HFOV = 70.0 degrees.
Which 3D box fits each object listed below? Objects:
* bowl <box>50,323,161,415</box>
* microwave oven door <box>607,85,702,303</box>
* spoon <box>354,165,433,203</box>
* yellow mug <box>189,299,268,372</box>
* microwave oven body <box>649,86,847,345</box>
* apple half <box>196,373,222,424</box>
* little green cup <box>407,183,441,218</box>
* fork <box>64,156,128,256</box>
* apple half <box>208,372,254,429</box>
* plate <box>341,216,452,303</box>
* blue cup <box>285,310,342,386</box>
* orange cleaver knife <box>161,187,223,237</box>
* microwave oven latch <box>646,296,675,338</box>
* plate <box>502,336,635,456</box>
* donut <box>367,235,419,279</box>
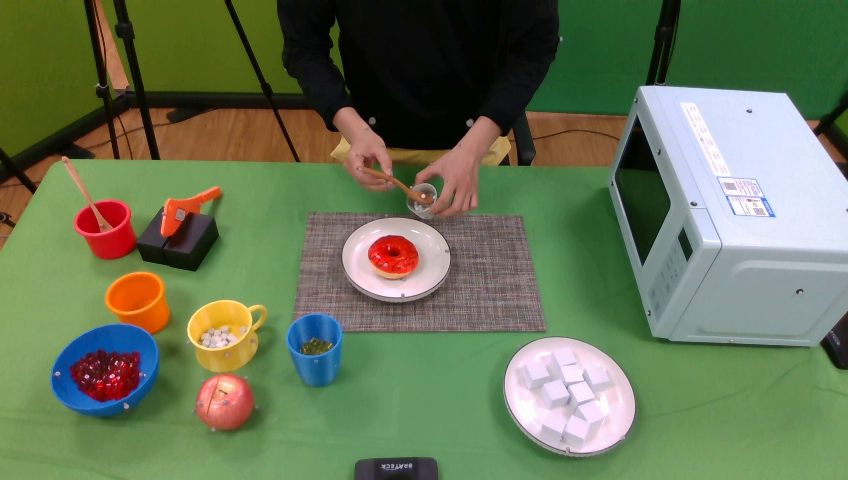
[{"bbox_3d":[-0.472,0.209,0.924,0.151,0.077,0.150,3,45,-2],"label":"bowl"},{"bbox_3d":[0.423,-0.094,1.141,0.039,0.245,0.353,2,46,-1],"label":"microwave oven door"},{"bbox_3d":[-0.051,-0.100,1.067,0.195,0.021,0.041,24,22,-48],"label":"spoon"},{"bbox_3d":[-0.316,0.148,1.002,0.131,0.064,0.099,-33,56,-31],"label":"yellow mug"},{"bbox_3d":[0.568,-0.053,1.118,0.326,0.261,0.439,2,45,-1],"label":"microwave oven body"},{"bbox_3d":[-0.322,0.240,0.907,0.033,0.081,0.081,6,46,0],"label":"apple half"},{"bbox_3d":[0.003,-0.072,1.133,0.061,0.039,0.061,-9,65,19],"label":"little green cup"},{"bbox_3d":[-0.614,-0.064,1.130,0.028,0.018,0.207,-30,97,-16],"label":"fork"},{"bbox_3d":[-0.283,0.244,0.908,0.053,0.075,0.080,7,42,-1],"label":"apple half"},{"bbox_3d":[-0.052,0.039,1.140,0.209,0.038,0.208,2,46,-2],"label":"plate"},{"bbox_3d":[-0.170,0.179,0.958,0.093,0.101,0.092,2,44,-1],"label":"blue cup"},{"bbox_3d":[-0.448,-0.058,1.180,0.012,0.077,0.211,13,17,6],"label":"orange cleaver knife"},{"bbox_3d":[0.412,0.134,1.061,0.030,0.029,0.078,4,45,1],"label":"microwave oven latch"},{"bbox_3d":[0.225,0.248,0.963,0.208,0.039,0.206,2,46,-2],"label":"plate"},{"bbox_3d":[-0.057,0.031,1.132,0.099,0.048,0.098,3,45,-3],"label":"donut"}]
